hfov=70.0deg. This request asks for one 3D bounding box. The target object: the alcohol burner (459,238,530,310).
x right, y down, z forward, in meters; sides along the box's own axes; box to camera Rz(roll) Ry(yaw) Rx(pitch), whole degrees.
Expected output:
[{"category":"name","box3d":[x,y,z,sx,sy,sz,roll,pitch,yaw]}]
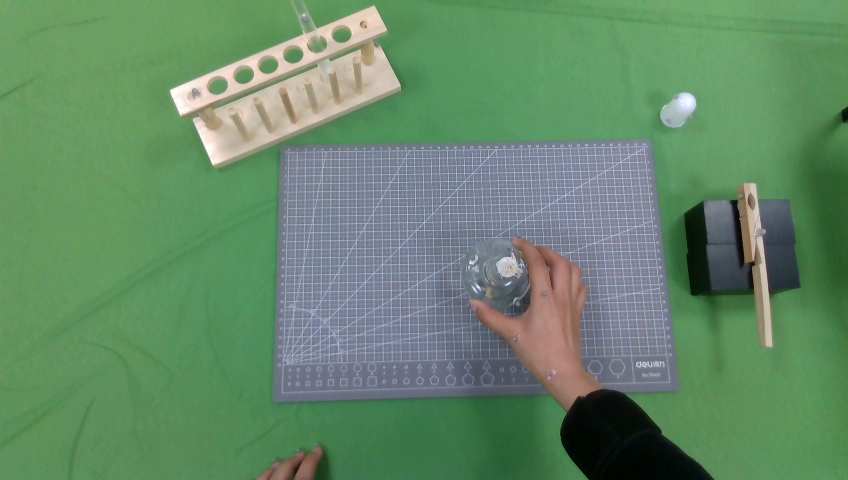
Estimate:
[{"category":"alcohol burner","box3d":[0.077,0.034,0.640,0.078,0.119,0.077,1,81,-4]}]

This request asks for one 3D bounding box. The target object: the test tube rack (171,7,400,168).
[{"category":"test tube rack","box3d":[-0.151,-0.173,0.700,0.242,0.085,0.066,-25,79,-7]}]

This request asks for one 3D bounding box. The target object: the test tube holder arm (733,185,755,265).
[{"category":"test tube holder arm","box3d":[0.353,-0.017,0.666,0.010,0.015,0.087,-2,79,-2]}]

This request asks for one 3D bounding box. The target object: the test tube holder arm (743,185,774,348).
[{"category":"test tube holder arm","box3d":[0.360,0.027,0.657,0.013,0.015,0.177,-3,79,-2]}]

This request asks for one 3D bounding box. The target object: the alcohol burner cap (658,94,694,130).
[{"category":"alcohol burner cap","box3d":[0.307,-0.157,0.733,0.034,0.048,0.033,0,76,0]}]

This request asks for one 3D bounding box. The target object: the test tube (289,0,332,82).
[{"category":"test tube","box3d":[-0.122,-0.221,0.659,0.017,0.151,0.017,-3,67,7]}]
